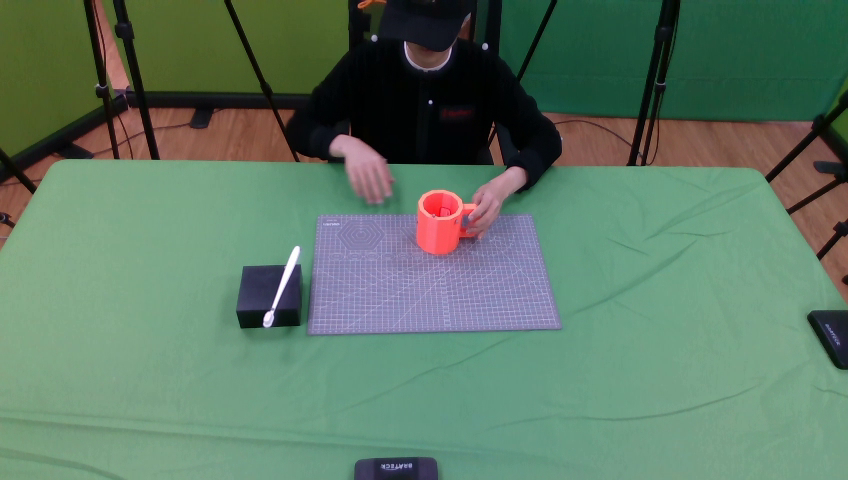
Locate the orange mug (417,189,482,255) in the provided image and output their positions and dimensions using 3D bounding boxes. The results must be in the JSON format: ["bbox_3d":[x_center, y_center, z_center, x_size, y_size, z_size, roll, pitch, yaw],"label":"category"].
[{"bbox_3d":[0.049,-0.036,1.176,0.126,0.101,0.083,-6,46,-4],"label":"orange mug"}]

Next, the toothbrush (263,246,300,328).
[{"bbox_3d":[-0.243,0.074,1.042,0.014,0.017,0.181,5,45,6],"label":"toothbrush"}]
